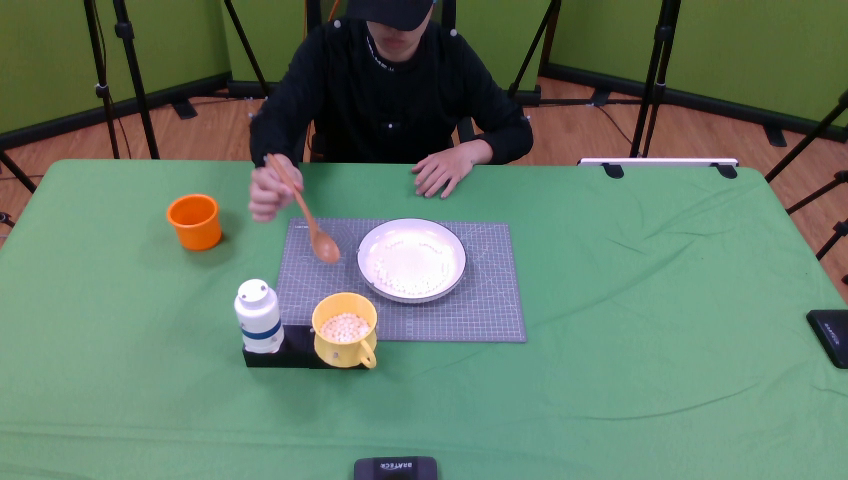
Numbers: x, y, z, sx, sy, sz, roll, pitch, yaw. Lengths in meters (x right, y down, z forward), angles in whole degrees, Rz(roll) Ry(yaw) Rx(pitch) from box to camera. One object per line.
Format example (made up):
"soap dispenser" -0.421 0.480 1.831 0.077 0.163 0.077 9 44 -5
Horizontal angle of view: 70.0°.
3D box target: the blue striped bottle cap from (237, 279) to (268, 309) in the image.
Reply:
"blue striped bottle cap" -0.252 0.078 0.892 0.044 0.021 0.044 4 47 -4

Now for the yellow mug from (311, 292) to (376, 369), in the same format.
"yellow mug" -0.115 0.149 0.945 0.100 0.064 0.130 -30 57 -28

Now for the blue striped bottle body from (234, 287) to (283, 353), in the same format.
"blue striped bottle body" -0.254 0.114 0.929 0.063 0.121 0.062 2 46 -2

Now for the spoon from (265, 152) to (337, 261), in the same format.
"spoon" -0.190 -0.051 0.937 0.021 0.194 0.041 -7 25 47

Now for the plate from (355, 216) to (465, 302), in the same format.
"plate" -0.027 0.039 1.144 0.208 0.039 0.206 2 46 -2
